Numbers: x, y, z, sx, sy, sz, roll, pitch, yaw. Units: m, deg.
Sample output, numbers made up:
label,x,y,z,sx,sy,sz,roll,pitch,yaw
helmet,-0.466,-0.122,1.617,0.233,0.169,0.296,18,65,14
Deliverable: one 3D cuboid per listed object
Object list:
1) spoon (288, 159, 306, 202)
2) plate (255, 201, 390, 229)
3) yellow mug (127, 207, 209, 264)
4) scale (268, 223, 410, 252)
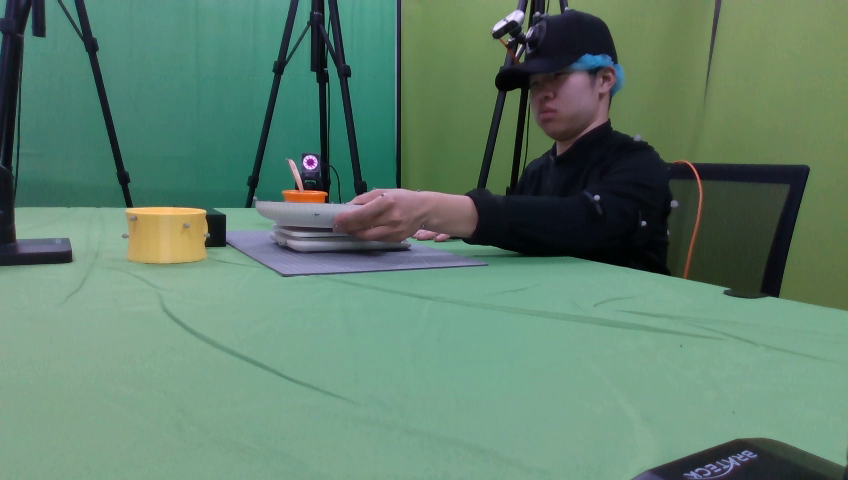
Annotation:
label,x,y,z,sx,sy,sz,roll,pitch,yaw
spoon,-0.260,-0.103,1.268,0.042,0.193,0.021,3,-39,-33
plate,-0.158,-0.040,0.951,0.209,0.038,0.209,3,3,0
yellow mug,-0.339,-0.009,0.827,0.100,0.064,0.131,5,7,17
scale,-0.138,-0.006,0.980,0.202,0.031,0.148,-1,9,-30
